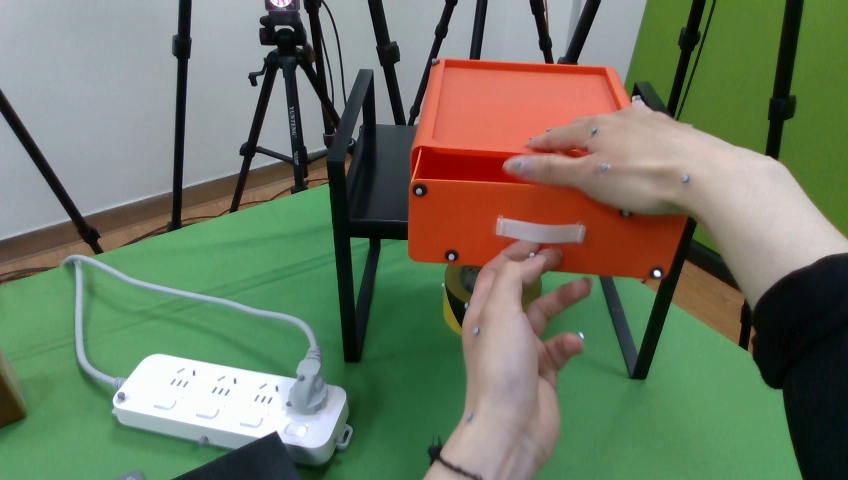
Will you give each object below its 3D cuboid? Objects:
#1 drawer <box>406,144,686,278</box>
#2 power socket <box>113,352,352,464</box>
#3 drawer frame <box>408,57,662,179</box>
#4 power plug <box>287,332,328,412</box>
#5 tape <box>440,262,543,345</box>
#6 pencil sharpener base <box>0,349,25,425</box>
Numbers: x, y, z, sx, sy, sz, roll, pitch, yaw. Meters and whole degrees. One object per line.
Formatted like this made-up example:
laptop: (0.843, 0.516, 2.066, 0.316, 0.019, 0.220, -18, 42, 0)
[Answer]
drawer: (0.091, -0.059, 0.519, 0.194, 0.074, 0.210, 4, 31, 2)
power socket: (-0.178, 0.154, 0.566, 0.226, 0.033, 0.071, 8, 36, 9)
drawer frame: (0.095, -0.098, 0.579, 0.201, 0.083, 0.211, 3, 35, 2)
power plug: (-0.099, 0.129, 0.564, 0.035, 0.053, 0.072, 15, 39, 18)
tape: (0.076, 0.061, 0.691, 0.117, 0.053, 0.115, 2, 37, -1)
pencil sharpener base: (-0.417, 0.121, 0.535, 0.077, 0.108, 0.060, -24, 44, -30)
